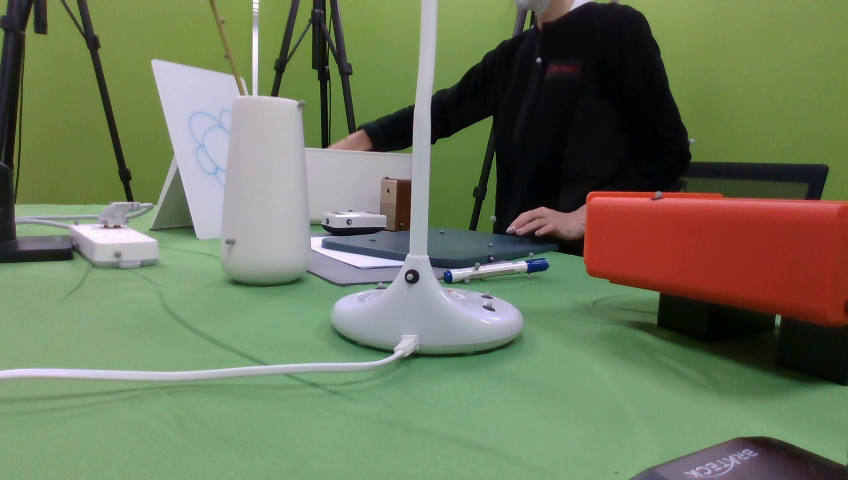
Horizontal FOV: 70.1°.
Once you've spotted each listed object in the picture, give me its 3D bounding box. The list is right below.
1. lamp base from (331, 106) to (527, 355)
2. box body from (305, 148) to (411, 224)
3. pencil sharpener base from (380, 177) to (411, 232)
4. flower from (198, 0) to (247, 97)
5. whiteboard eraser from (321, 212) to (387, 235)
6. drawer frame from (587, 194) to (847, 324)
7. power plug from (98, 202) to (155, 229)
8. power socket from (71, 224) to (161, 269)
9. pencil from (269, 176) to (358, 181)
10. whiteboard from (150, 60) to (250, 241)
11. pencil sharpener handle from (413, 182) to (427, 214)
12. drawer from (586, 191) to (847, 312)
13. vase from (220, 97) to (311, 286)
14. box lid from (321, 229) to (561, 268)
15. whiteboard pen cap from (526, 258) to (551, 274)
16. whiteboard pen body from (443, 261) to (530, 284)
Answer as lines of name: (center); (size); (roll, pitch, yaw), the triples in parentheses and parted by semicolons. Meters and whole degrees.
lamp base: (0.006, -0.012, 0.478); (0.161, 0.180, 0.179); (2, 10, 2)
box body: (-0.230, -0.126, 1.370); (0.366, 0.160, 0.253); (-2, 8, -33)
pencil sharpener base: (-0.042, -0.071, 1.222); (0.077, 0.107, 0.061); (-2, 8, -37)
flower: (-0.187, -0.133, 0.648); (0.038, 0.362, 0.044); (0, 22, 43)
whiteboard eraser: (-0.128, -0.031, 1.108); (0.113, 0.042, 0.055); (-3, 7, -38)
drawer frame: (0.285, 0.004, 0.509); (0.203, 0.082, 0.212); (-1, 6, -29)
power plug: (-0.416, -0.027, 0.848); (0.073, 0.052, 0.035); (0, 8, -28)
power socket: (-0.408, 0.004, 0.793); (0.072, 0.032, 0.225); (-2, 8, -38)
pencil: (-0.243, -0.136, 1.334); (0.194, 0.012, 0.012); (-1, 8, -10)
whiteboard: (-0.408, -0.139, 1.093); (0.143, 0.305, 0.218); (-15, -1, 26)
pencil sharpener handle: (-0.003, -0.086, 1.254); (0.031, 0.067, 0.036); (-2, 21, -37)
drawer: (0.281, 0.001, 0.512); (0.195, 0.073, 0.210); (-1, 8, -29)
vase: (-0.172, -0.052, 0.662); (0.098, 0.200, 0.098); (3, 8, 0)
box lid: (0.040, 0.008, 0.996); (0.262, 0.015, 0.373); (7, 8, 34)
whiteboard pen cap: (0.141, 0.033, 0.759); (0.033, 0.018, 0.018); (-7, 11, -26)
whiteboard pen body: (0.087, 0.037, 0.734); (0.141, 0.017, 0.017); (-6, 10, -27)
